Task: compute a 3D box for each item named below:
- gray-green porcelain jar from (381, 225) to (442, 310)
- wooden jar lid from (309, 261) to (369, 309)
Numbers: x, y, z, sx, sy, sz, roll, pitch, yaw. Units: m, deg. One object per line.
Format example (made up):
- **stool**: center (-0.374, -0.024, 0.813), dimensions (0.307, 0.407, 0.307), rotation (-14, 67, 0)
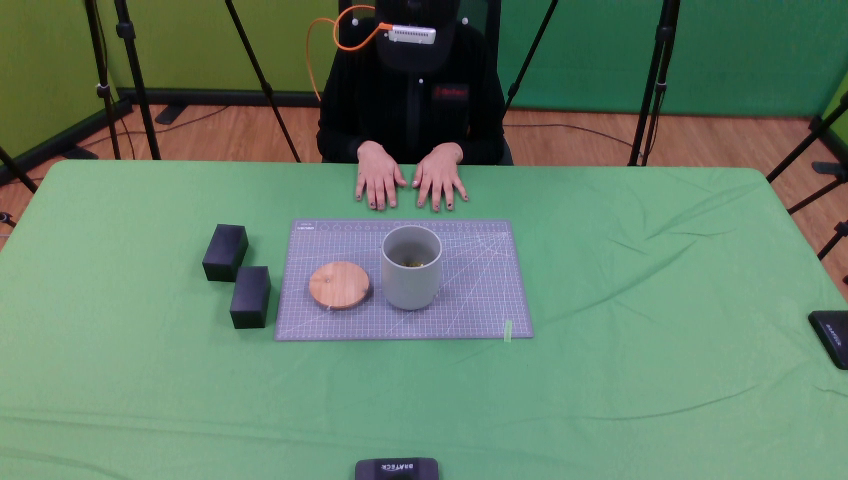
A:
- **gray-green porcelain jar**: center (-0.023, 0.053, 1.068), dimensions (0.106, 0.127, 0.105), rotation (2, 46, -2)
- **wooden jar lid**: center (-0.155, 0.084, 1.104), dimensions (0.108, 0.021, 0.107), rotation (3, 47, -3)
